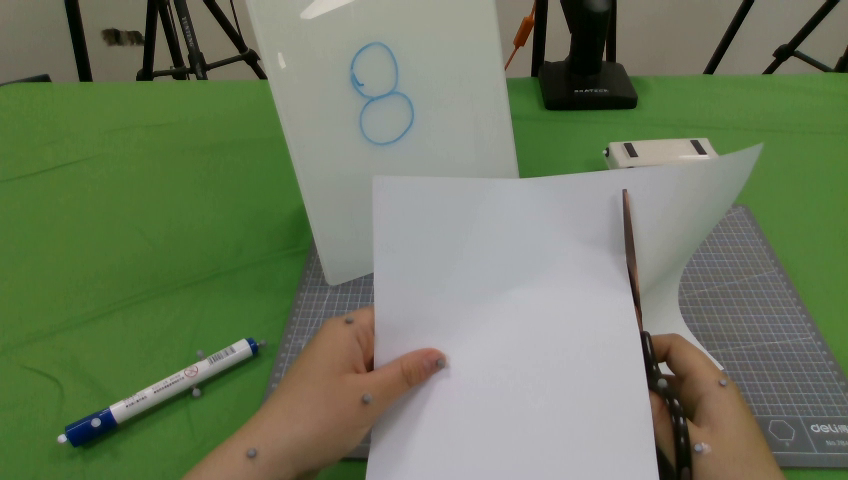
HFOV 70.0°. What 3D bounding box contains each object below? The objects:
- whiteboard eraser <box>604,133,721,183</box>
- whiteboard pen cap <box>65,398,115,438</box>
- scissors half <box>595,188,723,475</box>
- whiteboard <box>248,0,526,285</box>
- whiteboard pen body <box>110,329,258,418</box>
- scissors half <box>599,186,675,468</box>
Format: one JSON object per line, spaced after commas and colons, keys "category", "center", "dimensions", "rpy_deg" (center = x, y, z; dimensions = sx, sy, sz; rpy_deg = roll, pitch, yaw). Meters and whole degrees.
{"category": "whiteboard eraser", "center": [0.260, -0.090, 0.665], "dimensions": [0.113, 0.042, 0.055], "rpy_deg": [-1, 43, 0]}
{"category": "whiteboard pen cap", "center": [-0.243, 0.129, 0.444], "dimensions": [0.033, 0.018, 0.018], "rpy_deg": [-27, 47, -28]}
{"category": "scissors half", "center": [0.132, 0.047, 0.355], "dimensions": [0.013, 0.040, 0.174], "rpy_deg": [-11, 71, -21]}
{"category": "whiteboard", "center": [-0.046, -0.149, 0.592], "dimensions": [0.217, 0.307, 0.142], "rpy_deg": [-19, 23, -17]}
{"category": "whiteboard pen body", "center": [-0.195, 0.107, 0.471], "dimensions": [0.141, 0.017, 0.017], "rpy_deg": [-27, 47, -27]}
{"category": "scissors half", "center": [0.125, 0.053, 0.373], "dimensions": [0.013, 0.175, 0.040], "rpy_deg": [-10, 0, -26]}
